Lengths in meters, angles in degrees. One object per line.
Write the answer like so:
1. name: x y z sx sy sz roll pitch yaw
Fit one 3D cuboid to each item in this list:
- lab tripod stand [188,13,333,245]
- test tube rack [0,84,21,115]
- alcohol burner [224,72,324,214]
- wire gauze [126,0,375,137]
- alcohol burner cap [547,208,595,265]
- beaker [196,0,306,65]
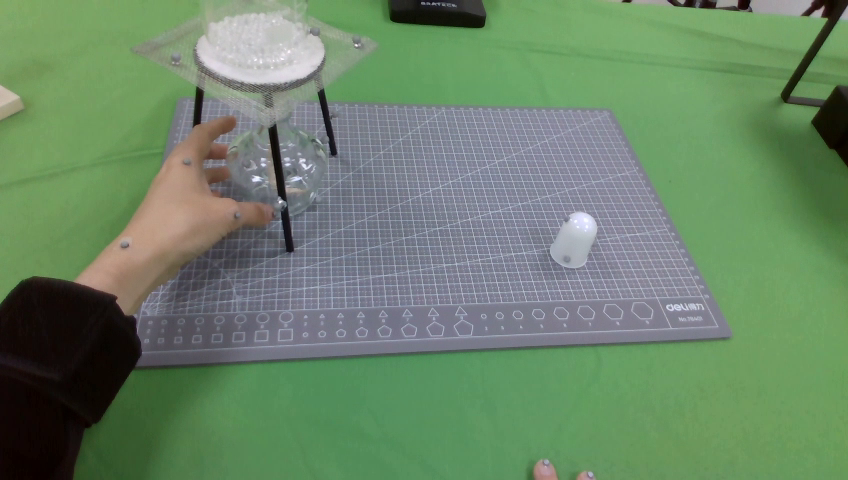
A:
1. lab tripod stand: -0.122 -0.091 0.470 0.149 0.132 0.147 6 48 -7
2. test tube rack: -0.451 -0.095 0.454 0.066 0.086 0.241 29 50 16
3. alcohol burner: -0.117 -0.079 0.473 0.078 0.120 0.077 6 46 -6
4. wire gauze: -0.116 -0.134 0.421 0.124 0.011 0.121 32 53 13
5. alcohol burner cap: 0.123 -0.005 0.497 0.034 0.048 0.033 5 47 -5
6. beaker: -0.114 -0.171 0.388 0.073 0.101 0.084 36 54 20
